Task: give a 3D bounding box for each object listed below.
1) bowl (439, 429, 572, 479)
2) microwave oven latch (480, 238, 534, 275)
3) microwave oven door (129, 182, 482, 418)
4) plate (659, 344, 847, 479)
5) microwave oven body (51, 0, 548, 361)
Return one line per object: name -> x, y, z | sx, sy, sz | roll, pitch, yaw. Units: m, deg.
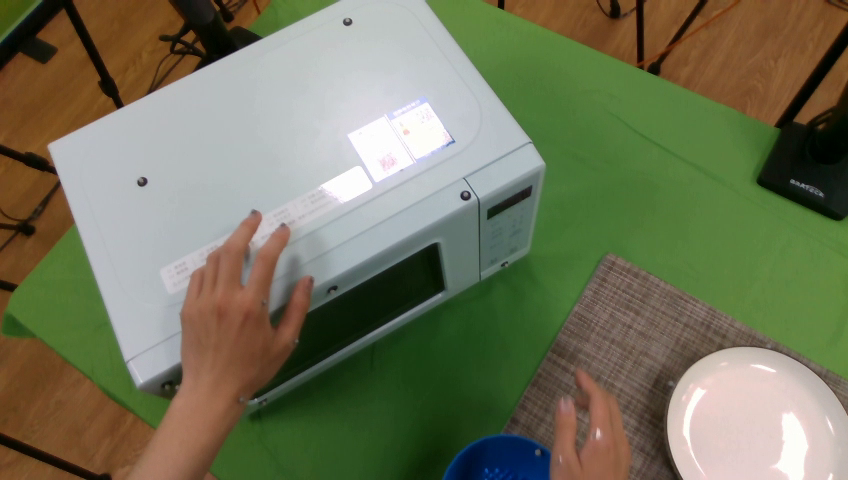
bowl -> 0.090, 0.292, 0.673 | 0.151, 0.077, 0.150 | -2, 67, 5
microwave oven latch -> 0.104, 0.014, 0.789 | 0.079, 0.030, 0.030 | -27, 68, -6
microwave oven door -> -0.098, 0.078, 0.669 | 0.356, 0.245, 0.039 | -29, 67, -7
plate -> 0.374, 0.224, 0.694 | 0.207, 0.039, 0.206 | -2, 67, 4
microwave oven body -> -0.131, -0.055, 0.732 | 0.442, 0.262, 0.323 | -29, 68, -6
